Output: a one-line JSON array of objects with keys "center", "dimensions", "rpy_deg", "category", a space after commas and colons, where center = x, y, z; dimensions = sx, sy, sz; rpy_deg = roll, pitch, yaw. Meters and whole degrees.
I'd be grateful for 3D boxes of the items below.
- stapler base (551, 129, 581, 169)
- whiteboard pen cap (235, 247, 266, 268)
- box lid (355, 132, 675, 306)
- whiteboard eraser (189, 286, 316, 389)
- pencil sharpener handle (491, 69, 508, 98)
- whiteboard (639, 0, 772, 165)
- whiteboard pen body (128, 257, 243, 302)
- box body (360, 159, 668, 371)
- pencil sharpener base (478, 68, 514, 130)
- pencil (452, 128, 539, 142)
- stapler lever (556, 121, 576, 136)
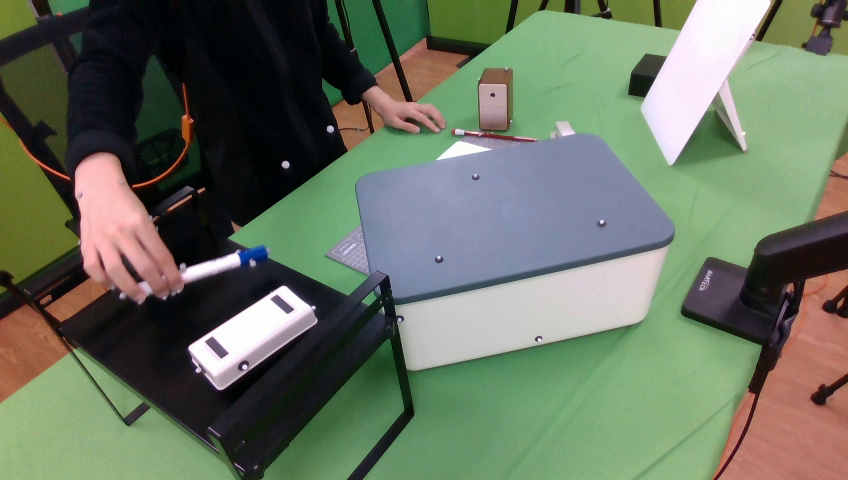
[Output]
[{"center": [0.268, -0.178, 1.142], "dimensions": [0.041, 0.024, 0.130], "rpy_deg": [0, 37, 3], "category": "stapler base"}, {"center": [-0.197, 0.021, 0.683], "dimensions": [0.033, 0.018, 0.018], "rpy_deg": [-21, 41, -31], "category": "whiteboard pen cap"}, {"center": [0.103, -0.042, 0.785], "dimensions": [0.372, 0.015, 0.261], "rpy_deg": [-12, 41, -5], "category": "box lid"}, {"center": [-0.166, 0.096, 0.593], "dimensions": [0.113, 0.042, 0.055], "rpy_deg": [-36, 47, -29], "category": "whiteboard eraser"}, {"center": [0.155, -0.329, 1.254], "dimensions": [0.036, 0.068, 0.030], "rpy_deg": [17, 43, 3], "category": "pencil sharpener handle"}, {"center": [0.543, -0.298, 1.076], "dimensions": [0.144, 0.305, 0.216], "rpy_deg": [12, 40, -7], "category": "whiteboard"}, {"center": [-0.244, 0.038, 0.651], "dimensions": [0.141, 0.017, 0.017], "rpy_deg": [-19, 40, -31], "category": "whiteboard pen body"}, {"center": [0.108, 0.014, 0.833], "dimensions": [0.365, 0.161, 0.252], "rpy_deg": [-11, 41, -5], "category": "box body"}, {"center": [0.148, -0.286, 1.224], "dimensions": [0.061, 0.107, 0.076], "rpy_deg": [5, 41, 15], "category": "pencil sharpener base"}, {"center": [0.146, -0.207, 1.205], "dimensions": [0.193, 0.012, 0.012], "rpy_deg": [10, 43, 19], "category": "pencil"}, {"center": [0.266, -0.198, 1.128], "dimensions": [0.027, 0.040, 0.117], "rpy_deg": [0, 38, 3], "category": "stapler lever"}]
